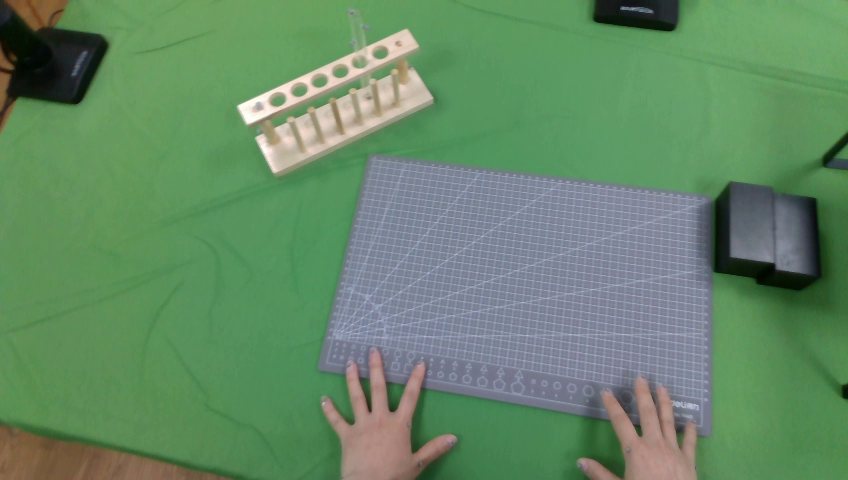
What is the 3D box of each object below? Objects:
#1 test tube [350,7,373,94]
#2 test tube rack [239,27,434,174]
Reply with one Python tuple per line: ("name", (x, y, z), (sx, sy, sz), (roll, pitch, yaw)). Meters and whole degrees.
("test tube", (-0.077, -0.236, 0.773), (0.017, 0.151, 0.017), (0, 67, 1))
("test tube rack", (-0.110, -0.185, 0.807), (0.242, 0.086, 0.066), (-27, 69, -8))
